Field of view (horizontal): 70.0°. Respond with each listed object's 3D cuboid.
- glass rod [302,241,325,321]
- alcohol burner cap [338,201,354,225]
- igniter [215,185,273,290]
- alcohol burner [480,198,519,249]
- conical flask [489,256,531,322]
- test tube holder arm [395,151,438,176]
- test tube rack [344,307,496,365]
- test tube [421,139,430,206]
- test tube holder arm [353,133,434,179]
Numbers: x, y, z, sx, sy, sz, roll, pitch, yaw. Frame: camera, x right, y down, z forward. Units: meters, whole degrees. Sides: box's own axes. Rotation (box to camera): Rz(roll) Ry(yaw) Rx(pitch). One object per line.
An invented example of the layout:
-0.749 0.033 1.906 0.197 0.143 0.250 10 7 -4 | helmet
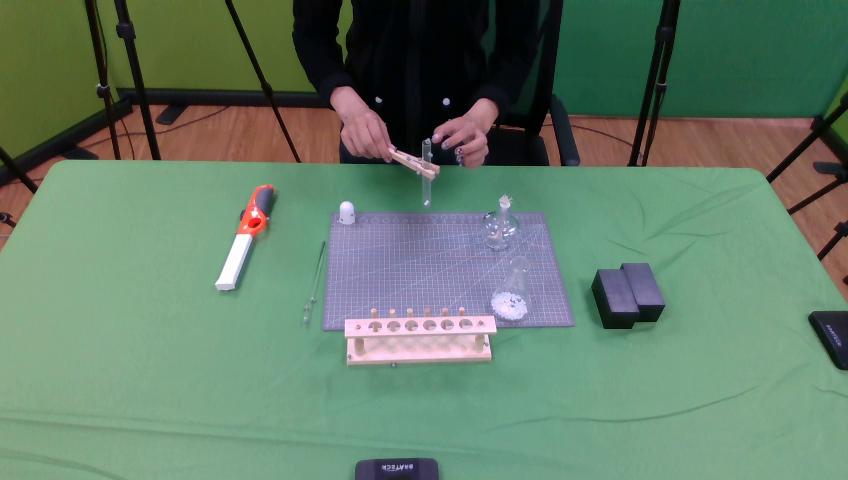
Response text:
-0.203 0.072 1.124 0.008 0.008 0.198 4 43 1 | glass rod
-0.159 -0.056 1.224 0.034 0.048 0.033 2 46 -2 | alcohol burner cap
-0.348 -0.014 1.182 0.057 0.025 0.275 -1 45 8 | igniter
0.150 -0.039 1.182 0.078 0.119 0.077 3 47 -3 | alcohol burner
0.158 0.081 1.061 0.075 0.122 0.075 2 46 -2 | conical flask
-0.015 -0.136 1.071 0.087 0.015 0.010 22 46 16 | test tube holder arm
-0.009 0.154 1.007 0.242 0.085 0.066 -1 46 -5 | test tube rack
0.002 -0.115 1.070 0.017 0.151 0.017 0 49 0 | test tube
-0.057 -0.151 1.082 0.178 0.015 0.013 28 47 21 | test tube holder arm
